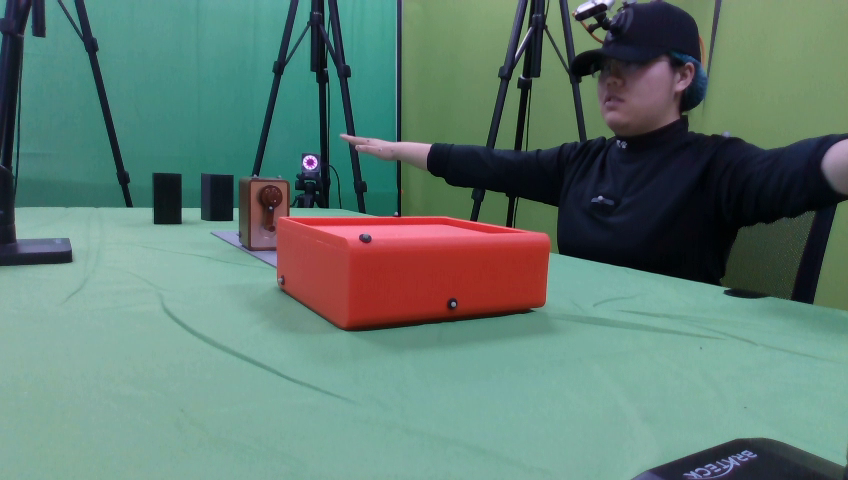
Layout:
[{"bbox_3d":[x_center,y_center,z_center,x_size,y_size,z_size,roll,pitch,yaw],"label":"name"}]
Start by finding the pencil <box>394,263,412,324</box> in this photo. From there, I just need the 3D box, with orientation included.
[{"bbox_3d":[-0.022,0.052,0.614,0.012,0.012,0.194,3,12,0],"label":"pencil"}]

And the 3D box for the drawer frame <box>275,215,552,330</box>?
[{"bbox_3d":[-0.017,0.022,0.610,0.215,0.082,0.200,-2,9,-31],"label":"drawer frame"}]

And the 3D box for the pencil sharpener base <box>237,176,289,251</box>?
[{"bbox_3d":[-0.243,-0.040,0.912,0.061,0.107,0.076,-1,8,-29],"label":"pencil sharpener base"}]

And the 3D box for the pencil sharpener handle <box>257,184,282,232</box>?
[{"bbox_3d":[-0.219,-0.046,0.865,0.036,0.067,0.030,6,5,-29],"label":"pencil sharpener handle"}]

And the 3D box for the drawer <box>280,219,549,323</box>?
[{"bbox_3d":[-0.016,0.023,0.612,0.213,0.073,0.193,-2,9,-30],"label":"drawer"}]
